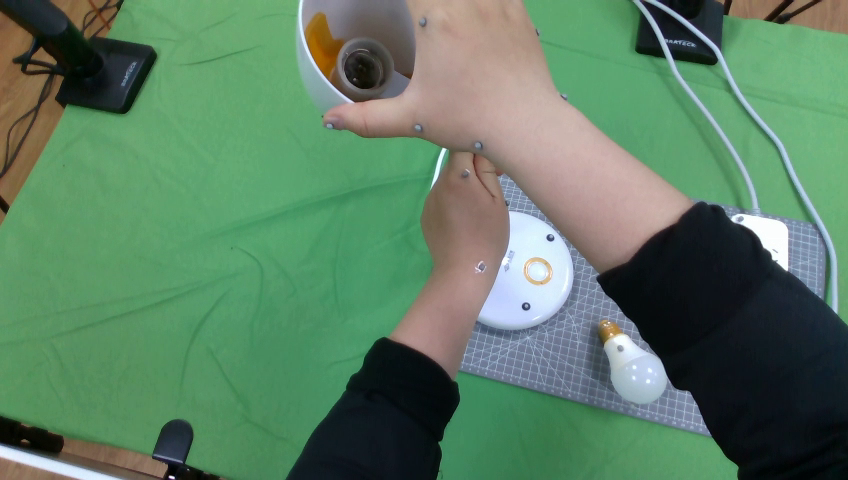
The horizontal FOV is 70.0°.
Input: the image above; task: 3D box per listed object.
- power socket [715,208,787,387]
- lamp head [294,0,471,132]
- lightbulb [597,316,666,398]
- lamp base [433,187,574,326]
[{"bbox_3d":[0.397,0.063,0.733,0.072,0.033,0.225,12,68,7],"label":"power socket"},{"bbox_3d":[-0.035,-0.122,0.423,0.113,0.123,0.112,2,82,-13],"label":"lamp head"},{"bbox_3d":[0.235,0.133,0.703,0.059,0.060,0.106,-22,52,-6],"label":"lightbulb"},{"bbox_3d":[0.090,-0.001,0.695,0.179,0.181,0.159,7,68,9],"label":"lamp base"}]
